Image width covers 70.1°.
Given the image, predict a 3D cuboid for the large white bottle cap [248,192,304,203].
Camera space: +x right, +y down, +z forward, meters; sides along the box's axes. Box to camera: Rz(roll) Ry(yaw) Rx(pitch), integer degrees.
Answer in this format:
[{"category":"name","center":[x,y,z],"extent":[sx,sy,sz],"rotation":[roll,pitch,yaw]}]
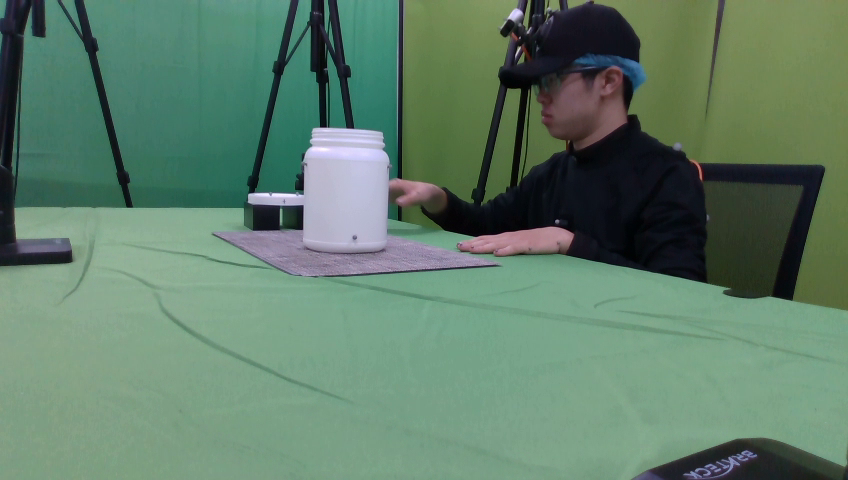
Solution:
[{"category":"large white bottle cap","center":[-0.294,-0.084,1.214],"extent":[0.115,0.018,0.115],"rotation":[2,7,0]}]

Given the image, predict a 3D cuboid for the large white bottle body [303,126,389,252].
[{"category":"large white bottle body","center":[-0.120,-0.079,0.936],"extent":[0.131,0.184,0.130],"rotation":[2,7,0]}]
